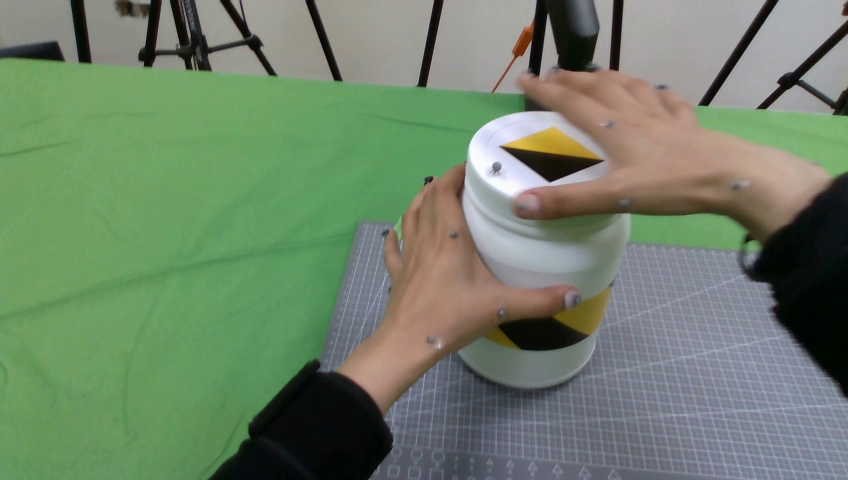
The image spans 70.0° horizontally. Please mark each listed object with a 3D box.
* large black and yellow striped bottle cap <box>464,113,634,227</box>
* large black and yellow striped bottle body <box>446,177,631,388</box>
[{"bbox_3d":[0.086,-0.052,0.418,0.115,0.019,0.114,3,42,-2],"label":"large black and yellow striped bottle cap"},{"bbox_3d":[0.085,0.013,0.478,0.131,0.185,0.129,1,42,-1],"label":"large black and yellow striped bottle body"}]
